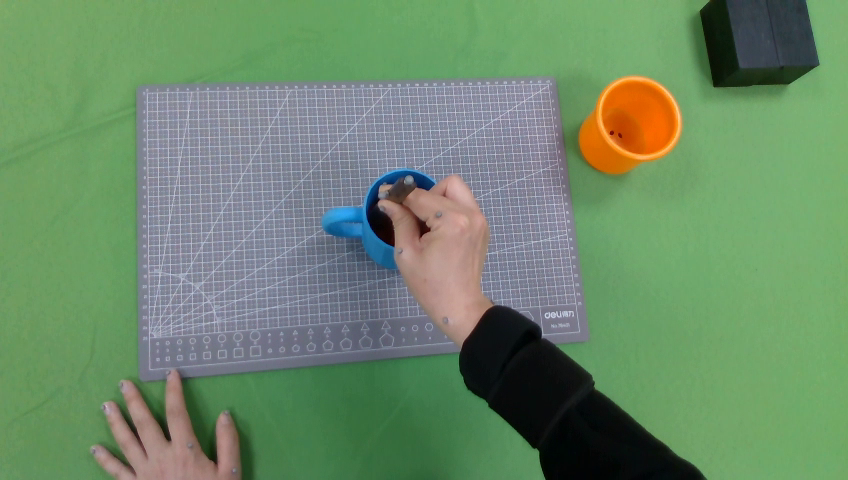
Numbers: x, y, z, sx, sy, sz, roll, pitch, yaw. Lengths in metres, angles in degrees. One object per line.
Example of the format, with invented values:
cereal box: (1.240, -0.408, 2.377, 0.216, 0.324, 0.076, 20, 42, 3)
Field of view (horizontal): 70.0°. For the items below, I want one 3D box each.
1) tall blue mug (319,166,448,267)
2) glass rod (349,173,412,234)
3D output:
tall blue mug: (-0.037, -0.013, 0.579, 0.107, 0.108, 0.077, -28, 84, -11)
glass rod: (-0.041, -0.027, 0.513, 0.008, 0.199, 0.008, 3, 79, -18)
